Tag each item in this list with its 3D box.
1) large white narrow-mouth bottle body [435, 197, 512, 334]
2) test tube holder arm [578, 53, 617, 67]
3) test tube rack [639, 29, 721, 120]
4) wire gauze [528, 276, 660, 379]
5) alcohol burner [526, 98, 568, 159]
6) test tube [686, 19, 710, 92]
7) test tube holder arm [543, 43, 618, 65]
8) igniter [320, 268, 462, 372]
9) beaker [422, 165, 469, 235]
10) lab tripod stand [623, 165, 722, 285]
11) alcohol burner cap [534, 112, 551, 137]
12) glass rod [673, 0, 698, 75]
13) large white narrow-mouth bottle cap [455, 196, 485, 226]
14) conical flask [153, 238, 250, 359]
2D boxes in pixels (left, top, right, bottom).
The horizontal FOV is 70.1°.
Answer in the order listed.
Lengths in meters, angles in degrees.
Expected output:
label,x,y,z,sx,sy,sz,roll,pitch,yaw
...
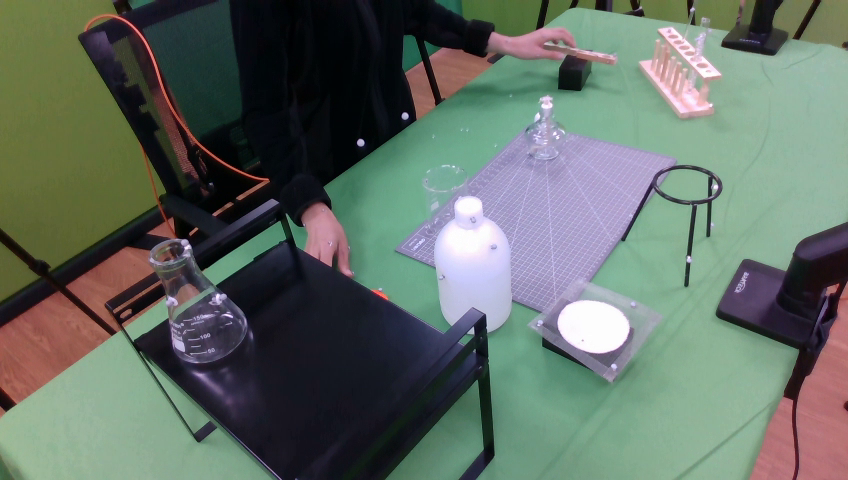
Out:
label,x,y,z,sx,sy,sz,roll,pitch,yaw
large white narrow-mouth bottle body,0.066,0.028,0.805,0.102,0.195,0.101,-4,40,4
test tube holder arm,0.376,-0.393,1.314,0.087,0.015,0.010,26,51,32
test tube rack,0.527,-0.351,1.262,0.067,0.085,0.241,-8,40,1
wire gauze,0.214,0.103,0.763,0.124,0.011,0.122,30,53,35
alcohol burner,0.228,-0.210,1.118,0.078,0.119,0.077,-5,42,5
test tube,0.540,-0.360,1.193,0.017,0.151,0.017,-4,43,4
test tube holder arm,0.345,-0.413,1.341,0.177,0.015,0.013,25,50,31
igniter,-0.058,0.106,0.862,0.274,0.025,0.057,27,55,35
beaker,0.041,-0.063,0.986,0.073,0.101,0.084,20,47,29
lab tripod stand,0.365,-0.030,0.875,0.148,0.132,0.147,-6,41,6
alcohol burner cap,0.235,-0.231,1.197,0.034,0.048,0.033,-5,39,5
glass rod,0.538,-0.425,1.244,0.008,0.200,0.008,0,47,1
large white narrow-mouth bottle cap,0.057,-0.036,0.749,0.038,0.024,0.037,-4,40,4
conical flask,-0.225,0.055,0.597,0.075,0.122,0.075,-5,41,4
